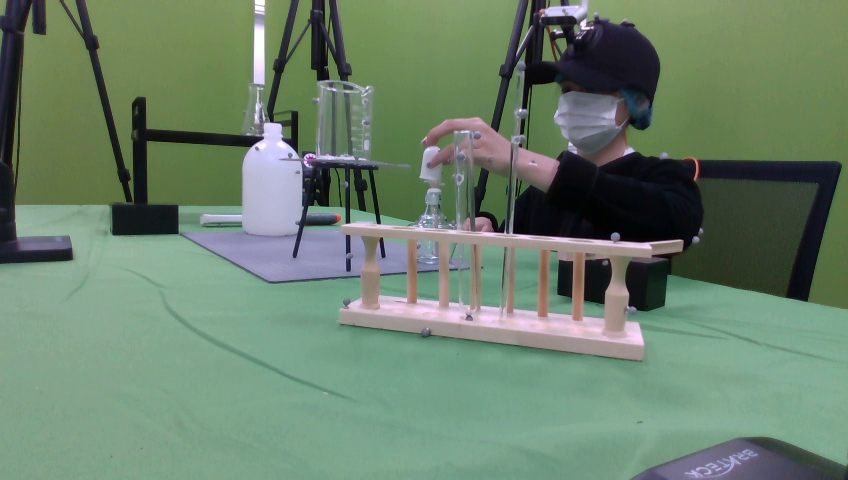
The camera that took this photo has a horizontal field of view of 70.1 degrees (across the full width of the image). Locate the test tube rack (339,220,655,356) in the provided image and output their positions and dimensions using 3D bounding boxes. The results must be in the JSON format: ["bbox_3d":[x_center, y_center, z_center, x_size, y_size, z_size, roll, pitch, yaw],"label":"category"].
[{"bbox_3d":[0.056,0.032,0.495,0.242,0.085,0.067,4,7,15],"label":"test tube rack"}]

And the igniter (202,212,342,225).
[{"bbox_3d":[-0.298,-0.043,1.216,0.278,0.025,0.057,-3,-2,-32],"label":"igniter"}]

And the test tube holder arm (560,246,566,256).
[{"bbox_3d":[0.173,0.007,0.611,0.088,0.015,0.010,-3,10,-30],"label":"test tube holder arm"}]

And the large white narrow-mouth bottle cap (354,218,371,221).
[{"bbox_3d":[-0.120,-0.029,1.184,0.038,0.024,0.037,2,8,0],"label":"large white narrow-mouth bottle cap"}]

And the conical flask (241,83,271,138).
[{"bbox_3d":[-0.384,-0.297,1.393,0.075,0.122,0.075,2,7,0],"label":"conical flask"}]

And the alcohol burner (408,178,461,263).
[{"bbox_3d":[0.014,-0.029,0.834,0.078,0.119,0.078,0,6,0],"label":"alcohol burner"}]

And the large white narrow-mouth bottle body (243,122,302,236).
[{"bbox_3d":[-0.265,-0.109,1.061,0.102,0.194,0.102,2,8,0],"label":"large white narrow-mouth bottle body"}]

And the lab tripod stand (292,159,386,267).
[{"bbox_3d":[-0.105,-0.039,0.797,0.148,0.131,0.148,2,5,0],"label":"lab tripod stand"}]

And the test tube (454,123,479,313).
[{"bbox_3d":[0.034,-0.016,0.477,0.017,0.150,0.017,-2,9,1],"label":"test tube"}]

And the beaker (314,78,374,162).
[{"bbox_3d":[-0.101,-0.150,0.774,0.074,0.100,0.083,-2,8,-40],"label":"beaker"}]

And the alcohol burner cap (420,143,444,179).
[{"bbox_3d":[0.013,-0.108,0.823,0.034,0.048,0.034,7,11,-1],"label":"alcohol burner cap"}]

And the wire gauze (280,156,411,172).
[{"bbox_3d":[-0.103,-0.103,0.785,0.121,0.011,0.126,11,8,42],"label":"wire gauze"}]

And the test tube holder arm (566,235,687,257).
[{"bbox_3d":[0.215,0.006,0.630,0.179,0.015,0.013,-3,10,-30],"label":"test tube holder arm"}]

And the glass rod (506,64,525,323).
[{"bbox_3d":[0.069,-0.030,0.458,0.008,0.199,0.008,0,15,0],"label":"glass rod"}]
